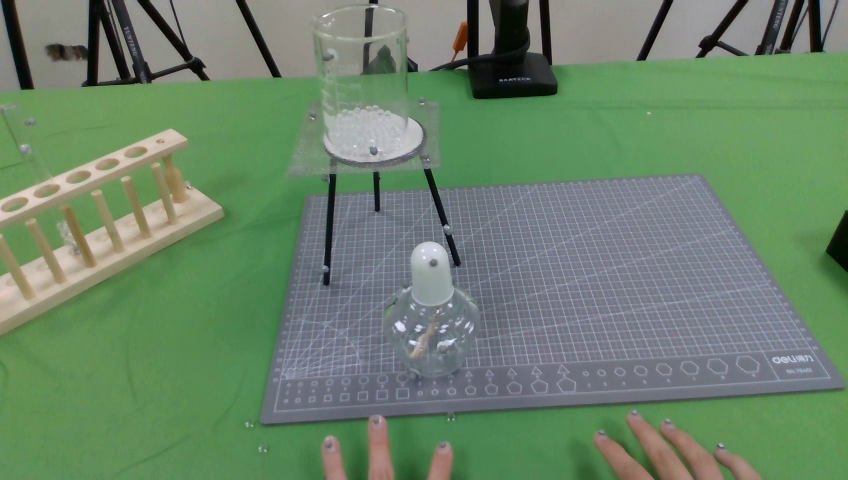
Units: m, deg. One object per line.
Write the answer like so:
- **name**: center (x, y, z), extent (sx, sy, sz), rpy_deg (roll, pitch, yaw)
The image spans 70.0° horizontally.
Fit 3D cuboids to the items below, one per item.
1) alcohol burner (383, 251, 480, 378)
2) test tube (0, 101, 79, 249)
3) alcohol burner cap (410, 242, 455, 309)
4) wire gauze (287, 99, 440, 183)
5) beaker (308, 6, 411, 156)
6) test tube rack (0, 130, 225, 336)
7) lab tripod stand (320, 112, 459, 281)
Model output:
- **alcohol burner**: center (0.006, 0.051, 0.465), extent (0.078, 0.120, 0.077), rpy_deg (-1, 41, 1)
- **test tube**: center (-0.349, -0.054, 0.556), extent (0.017, 0.151, 0.017), rpy_deg (-3, 35, 2)
- **alcohol burner cap**: center (0.005, 0.023, 0.442), extent (0.034, 0.048, 0.033), rpy_deg (-4, 40, 3)
- **wire gauze**: center (-0.048, -0.089, 0.517), extent (0.121, 0.011, 0.124), rpy_deg (-1, 42, 1)
- **beaker**: center (-0.051, -0.125, 0.484), extent (0.083, 0.101, 0.074), rpy_deg (27, 46, 29)
- **test tube rack**: center (-0.325, -0.013, 0.584), extent (0.066, 0.086, 0.242), rpy_deg (30, 49, 33)
- **lab tripod stand**: center (-0.037, -0.040, 0.561), extent (0.148, 0.132, 0.147), rpy_deg (0, 39, 0)
